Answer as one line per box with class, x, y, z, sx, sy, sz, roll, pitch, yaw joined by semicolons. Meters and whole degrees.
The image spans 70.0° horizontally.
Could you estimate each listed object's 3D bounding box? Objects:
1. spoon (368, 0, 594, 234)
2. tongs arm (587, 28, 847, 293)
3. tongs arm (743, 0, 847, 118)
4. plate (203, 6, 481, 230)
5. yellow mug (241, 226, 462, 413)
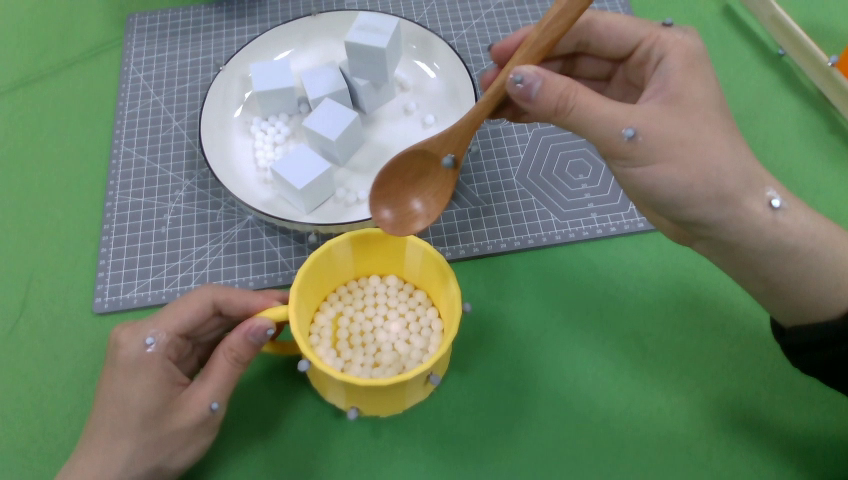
spoon;0.035;-0.071;0.291;0.042;0.194;0.021;41;33;-5
tongs arm;0.251;-0.029;0.426;0.028;0.028;0.384;-32;67;-18
tongs arm;0.323;-0.064;0.440;0.051;0.027;0.381;-21;65;-10
plate;-0.060;-0.094;0.468;0.207;0.039;0.206;-1;62;2
yellow mug;-0.045;0.051;0.370;0.131;0.064;0.099;-6;61;-7
